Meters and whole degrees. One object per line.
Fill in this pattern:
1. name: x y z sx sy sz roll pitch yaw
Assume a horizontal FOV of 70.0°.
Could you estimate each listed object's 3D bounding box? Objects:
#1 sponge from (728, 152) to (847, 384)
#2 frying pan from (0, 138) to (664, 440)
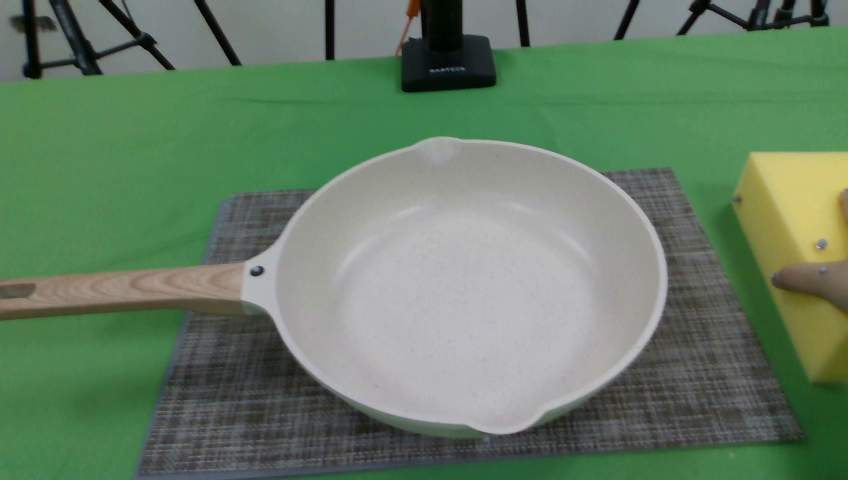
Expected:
1. sponge: 0.341 0.014 0.483 0.118 0.061 0.205 0 44 4
2. frying pan: -0.073 0.032 0.459 0.489 0.103 0.303 -1 42 -8
